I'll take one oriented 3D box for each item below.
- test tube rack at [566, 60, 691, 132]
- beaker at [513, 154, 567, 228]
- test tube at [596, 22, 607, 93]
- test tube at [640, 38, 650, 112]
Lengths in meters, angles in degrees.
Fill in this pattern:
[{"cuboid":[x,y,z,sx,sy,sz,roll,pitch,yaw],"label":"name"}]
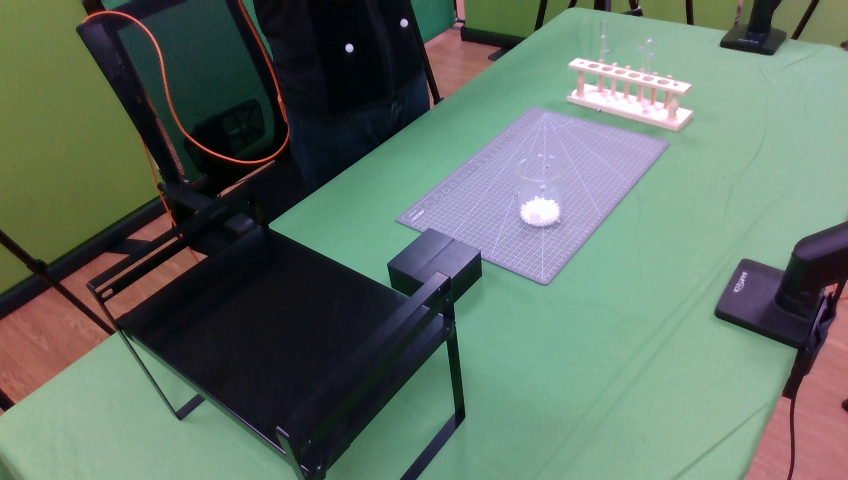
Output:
[{"cuboid":[0.411,-0.299,1.217,0.240,0.085,0.067,26,51,33],"label":"test tube rack"},{"cuboid":[0.186,-0.077,0.973,0.084,0.101,0.074,1,41,11],"label":"beaker"},{"cuboid":[0.363,-0.372,1.240,0.017,0.151,0.017,-6,40,5],"label":"test tube"},{"cuboid":[0.422,-0.312,1.154,0.017,0.151,0.017,-9,39,8],"label":"test tube"}]
